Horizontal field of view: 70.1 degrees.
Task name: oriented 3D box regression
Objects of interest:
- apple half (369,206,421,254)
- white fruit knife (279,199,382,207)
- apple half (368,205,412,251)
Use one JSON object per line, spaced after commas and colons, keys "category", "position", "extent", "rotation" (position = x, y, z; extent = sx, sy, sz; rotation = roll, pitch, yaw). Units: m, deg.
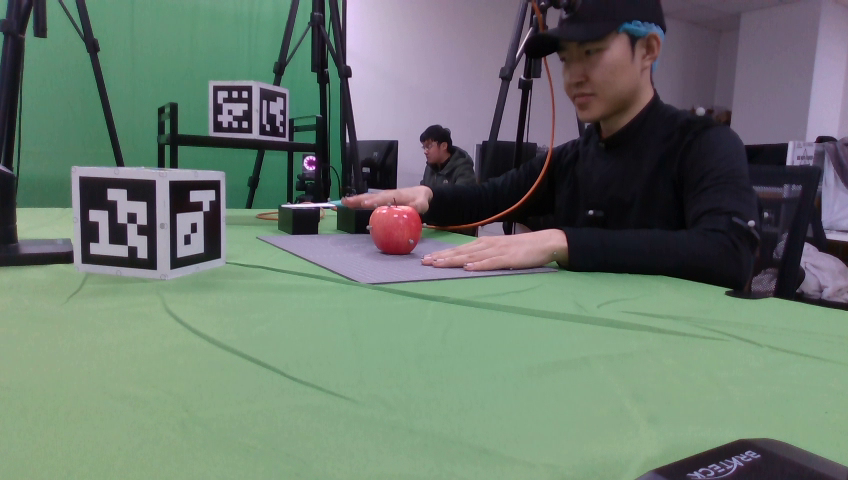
{"category": "apple half", "position": [-0.039, -0.014, 0.919], "extent": [0.081, 0.074, 0.053], "rotation": [3, 10, -32]}
{"category": "white fruit knife", "position": [-0.182, -0.072, 1.188], "extent": [0.208, 0.016, 0.027], "rotation": [-3, 17, -31]}
{"category": "apple half", "position": [-0.059, -0.020, 0.951], "extent": [0.082, 0.081, 0.032], "rotation": [-2, 13, -32]}
